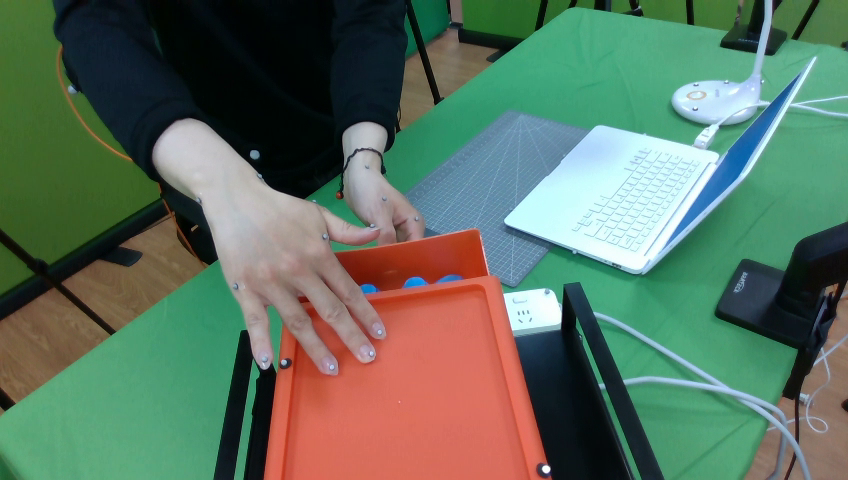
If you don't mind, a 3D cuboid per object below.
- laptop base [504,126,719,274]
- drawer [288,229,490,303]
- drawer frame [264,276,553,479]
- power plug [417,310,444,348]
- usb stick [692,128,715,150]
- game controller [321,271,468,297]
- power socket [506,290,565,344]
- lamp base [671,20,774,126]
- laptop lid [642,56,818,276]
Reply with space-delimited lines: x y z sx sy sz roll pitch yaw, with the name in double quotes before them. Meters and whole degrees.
"laptop base" 0.325 -0.083 1.027 0.233 0.023 0.355 21 48 32
"drawer" -0.024 0.094 0.545 0.195 0.073 0.210 -8 41 -2
"drawer frame" -0.016 0.137 0.490 0.202 0.083 0.212 -8 41 -2
"power plug" 0.006 0.123 0.784 0.035 0.053 0.072 0 42 9
"usb stick" 0.501 -0.176 1.091 0.021 0.027 0.059 29 55 29
"game controller" -0.028 0.068 0.586 0.155 0.052 0.096 -8 49 0
"power socket" 0.081 0.112 0.822 0.227 0.033 0.072 -7 40 0
"lamp base" 0.581 -0.332 1.153 0.179 0.181 0.160 2 42 7
"laptop lid" 0.445 -0.108 0.876 0.013 0.241 0.357 39 53 12
